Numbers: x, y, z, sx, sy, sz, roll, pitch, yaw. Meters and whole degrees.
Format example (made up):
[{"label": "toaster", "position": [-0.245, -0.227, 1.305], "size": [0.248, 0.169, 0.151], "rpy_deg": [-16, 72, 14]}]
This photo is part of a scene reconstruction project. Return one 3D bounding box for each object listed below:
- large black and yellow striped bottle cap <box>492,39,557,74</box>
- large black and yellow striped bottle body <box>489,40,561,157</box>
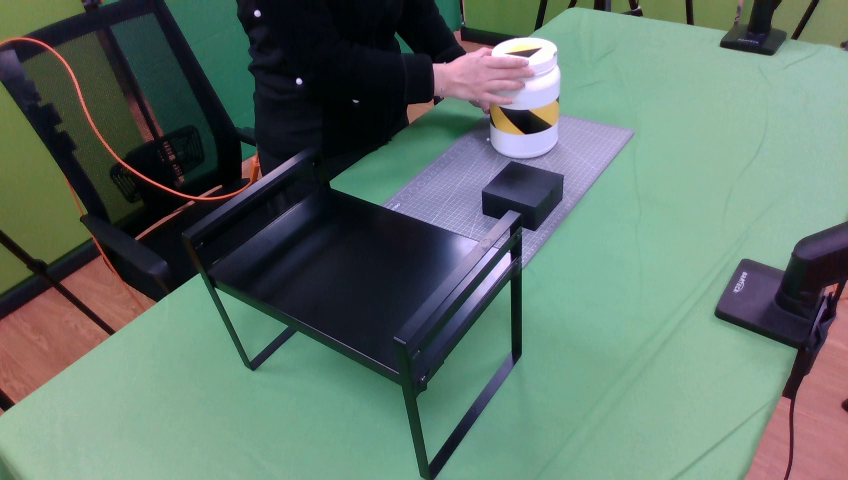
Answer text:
[{"label": "large black and yellow striped bottle cap", "position": [0.178, -0.326, 1.069], "size": [0.115, 0.019, 0.114], "rpy_deg": [-4, 39, 3]}, {"label": "large black and yellow striped bottle body", "position": [0.188, -0.263, 1.124], "size": [0.131, 0.185, 0.130], "rpy_deg": [-5, 40, 4]}]
